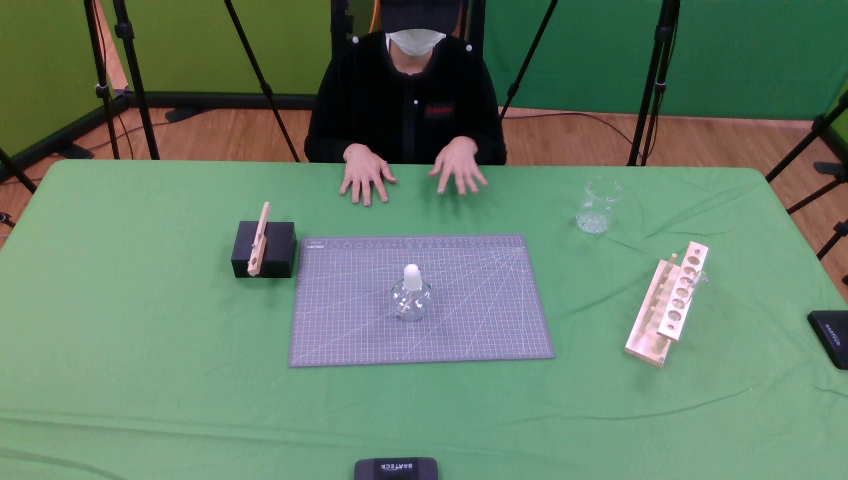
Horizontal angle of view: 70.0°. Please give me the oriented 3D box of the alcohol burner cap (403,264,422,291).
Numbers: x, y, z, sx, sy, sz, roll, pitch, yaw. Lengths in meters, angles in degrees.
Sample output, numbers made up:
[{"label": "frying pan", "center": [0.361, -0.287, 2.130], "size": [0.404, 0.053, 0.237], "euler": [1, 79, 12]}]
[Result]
[{"label": "alcohol burner cap", "center": [-0.021, 0.060, 1.021], "size": [0.034, 0.048, 0.033], "euler": [-2, 47, 2]}]

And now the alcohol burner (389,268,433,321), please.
[{"label": "alcohol burner", "center": [-0.022, 0.085, 1.046], "size": [0.078, 0.119, 0.077], "euler": [2, 48, -2]}]

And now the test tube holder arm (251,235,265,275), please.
[{"label": "test tube holder arm", "center": [-0.297, 0.025, 1.085], "size": [0.010, 0.015, 0.087], "euler": [-5, 46, 2]}]

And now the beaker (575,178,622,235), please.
[{"label": "beaker", "center": [0.356, -0.068, 1.240], "size": [0.084, 0.101, 0.073], "euler": [-18, 50, -21]}]

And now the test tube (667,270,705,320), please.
[{"label": "test tube", "center": [0.434, 0.103, 1.020], "size": [0.017, 0.151, 0.017], "euler": [4, 48, -4]}]

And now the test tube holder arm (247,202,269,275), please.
[{"label": "test tube holder arm", "center": [-0.304, -0.006, 1.116], "size": [0.013, 0.015, 0.177], "euler": [-5, 46, 1]}]

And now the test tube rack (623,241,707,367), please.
[{"label": "test tube rack", "center": [0.435, 0.104, 1.089], "size": [0.066, 0.085, 0.242], "euler": [24, 49, 18]}]
